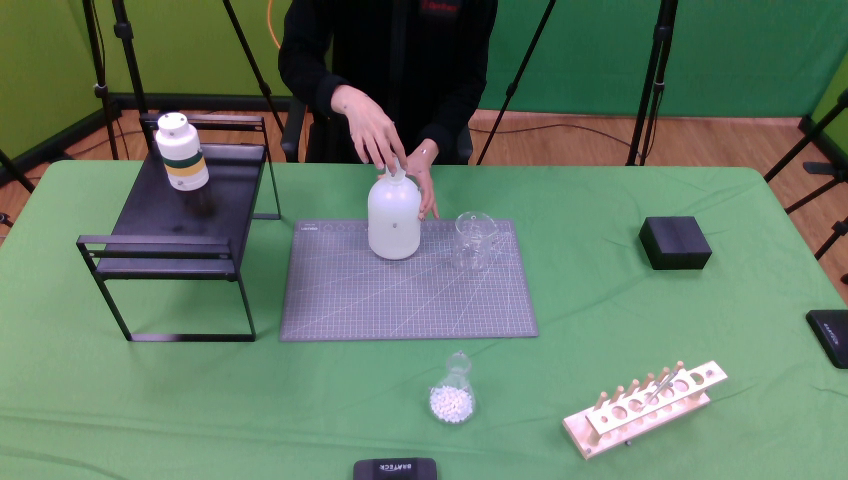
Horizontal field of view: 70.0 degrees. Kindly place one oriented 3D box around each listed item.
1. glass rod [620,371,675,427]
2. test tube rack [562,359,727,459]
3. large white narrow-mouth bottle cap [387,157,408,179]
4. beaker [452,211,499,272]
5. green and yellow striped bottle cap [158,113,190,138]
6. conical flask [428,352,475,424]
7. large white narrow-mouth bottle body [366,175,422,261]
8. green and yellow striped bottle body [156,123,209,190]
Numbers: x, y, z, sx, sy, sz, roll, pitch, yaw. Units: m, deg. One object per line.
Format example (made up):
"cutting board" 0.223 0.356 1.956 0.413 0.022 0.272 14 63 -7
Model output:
"glass rod" 0.316 0.230 0.863 0.008 0.200 0.008 3 54 -3
"test tube rack" 0.341 0.247 0.940 0.243 0.085 0.066 -16 49 -18
"large white narrow-mouth bottle cap" -0.046 -0.127 1.059 0.038 0.024 0.037 4 45 -3
"beaker" 0.093 0.006 1.141 0.084 0.101 0.073 8 46 3
"green and yellow striped bottle cap" -0.393 -0.180 0.951 0.045 0.020 0.045 2 44 -2
"conical flask" 0.046 0.220 0.920 0.075 0.122 0.075 2 46 -2
"large white narrow-mouth bottle body" -0.055 -0.058 1.127 0.102 0.195 0.101 3 45 -3
"green and yellow striped bottle body" -0.395 -0.145 0.989 0.063 0.120 0.063 2 46 -2
